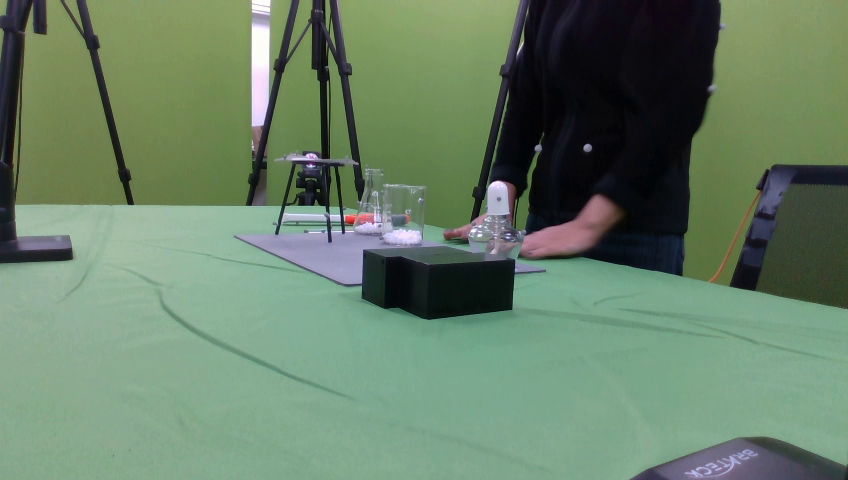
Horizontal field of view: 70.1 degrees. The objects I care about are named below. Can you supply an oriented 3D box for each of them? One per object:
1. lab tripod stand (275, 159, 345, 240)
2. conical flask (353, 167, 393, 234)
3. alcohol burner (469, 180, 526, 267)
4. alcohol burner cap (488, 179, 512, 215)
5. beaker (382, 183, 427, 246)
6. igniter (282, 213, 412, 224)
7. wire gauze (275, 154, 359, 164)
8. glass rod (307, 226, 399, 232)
[{"bbox_3d":[-0.181,-0.072,1.039,0.148,0.131,0.148,4,8,0],"label":"lab tripod stand"},{"bbox_3d":[-0.094,-0.074,1.126,0.075,0.122,0.075,2,7,0],"label":"conical flask"},{"bbox_3d":[0.101,-0.022,0.821,0.078,0.119,0.078,4,8,0],"label":"alcohol burner"},{"bbox_3d":[0.101,-0.058,0.816,0.034,0.048,0.034,-4,8,1],"label":"alcohol burner cap"},{"bbox_3d":[-0.032,-0.044,1.008,0.074,0.100,0.084,6,8,22],"label":"beaker"},{"bbox_3d":[-0.159,-0.046,1.287,0.278,0.025,0.057,-1,-3,-21],"label":"igniter"},{"bbox_3d":[-0.179,-0.137,1.028,0.121,0.011,0.125,4,8,0],"label":"wire gauze"},{"bbox_3d":[-0.135,-0.022,1.184,0.201,0.008,0.008,-3,8,-33],"label":"glass rod"}]
